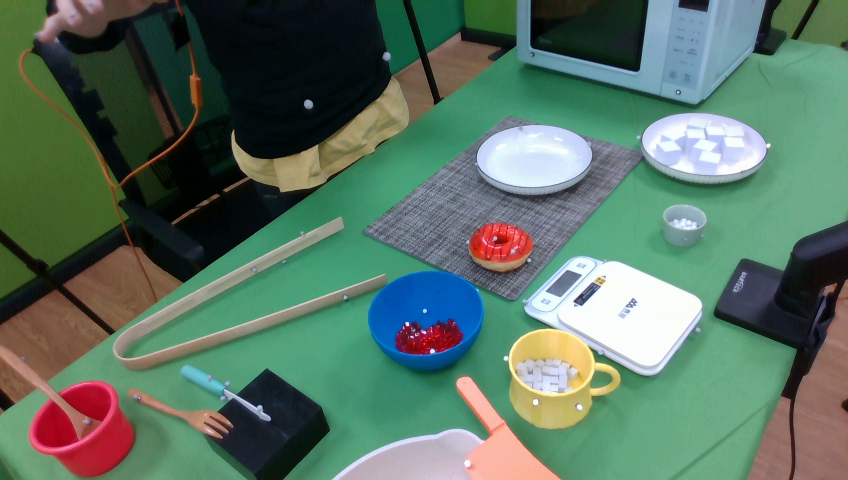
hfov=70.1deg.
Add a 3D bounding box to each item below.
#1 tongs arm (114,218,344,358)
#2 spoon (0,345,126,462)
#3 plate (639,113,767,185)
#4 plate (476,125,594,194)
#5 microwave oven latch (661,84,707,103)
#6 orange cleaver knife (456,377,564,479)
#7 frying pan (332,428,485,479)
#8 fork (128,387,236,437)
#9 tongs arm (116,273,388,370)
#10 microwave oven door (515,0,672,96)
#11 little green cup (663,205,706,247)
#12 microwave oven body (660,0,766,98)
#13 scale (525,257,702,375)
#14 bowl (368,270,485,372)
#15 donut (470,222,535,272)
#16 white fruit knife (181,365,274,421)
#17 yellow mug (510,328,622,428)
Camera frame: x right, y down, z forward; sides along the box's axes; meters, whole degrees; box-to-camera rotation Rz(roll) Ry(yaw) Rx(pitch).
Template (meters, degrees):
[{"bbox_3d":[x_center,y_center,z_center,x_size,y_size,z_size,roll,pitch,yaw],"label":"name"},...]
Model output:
[{"bbox_3d":[-0.280,0.067,0.926,0.386,0.026,0.050,-29,49,-23],"label":"tongs arm"},{"bbox_3d":[-0.434,0.192,0.720,0.194,0.021,0.042,47,54,-7],"label":"spoon"},{"bbox_3d":[0.489,-0.157,1.074,0.207,0.039,0.206,-4,40,4],"label":"plate"},{"bbox_3d":[0.199,-0.141,1.093,0.209,0.038,0.208,-4,39,4],"label":"plate"},{"bbox_3d":[0.517,-0.296,1.204,0.078,0.029,0.030,27,52,35],"label":"microwave oven latch"},{"bbox_3d":[0.081,0.220,0.611,0.077,0.012,0.209,-26,43,-22],"label":"orange cleaver knife"},{"bbox_3d":[-0.089,0.306,0.564,0.487,0.103,0.306,10,41,7],"label":"frying pan"},{"bbox_3d":[-0.305,0.207,0.744,0.206,0.019,0.028,3,41,36],"label":"fork"},{"bbox_3d":[-0.236,0.114,0.869,0.389,0.028,0.028,-18,49,-13],"label":"tongs arm"},{"bbox_3d":[0.343,-0.454,1.259,0.353,0.245,0.039,26,51,33],"label":"microwave oven door"},{"bbox_3d":[0.396,-0.021,0.926,0.061,0.039,0.061,-4,40,4],"label":"little green cup"},{"bbox_3d":[0.472,-0.513,1.317,0.438,0.261,0.327,26,51,34],"label":"microwave oven body"},{"bbox_3d":[0.254,0.091,0.821,0.199,0.032,0.149,28,51,35],"label":"scale"},{"bbox_3d":[0.007,0.118,0.791,0.151,0.077,0.150,-5,40,4],"label":"bowl"},{"bbox_3d":[0.119,0.009,0.923,0.099,0.048,0.098,-4,38,3],"label":"donut"},{"bbox_3d":[-0.245,0.187,0.747,0.205,0.027,0.016,9,41,40],"label":"white fruit knife"},{"bbox_3d":[0.169,0.164,0.722,0.130,0.064,0.099,0,40,8],"label":"yellow mug"}]
